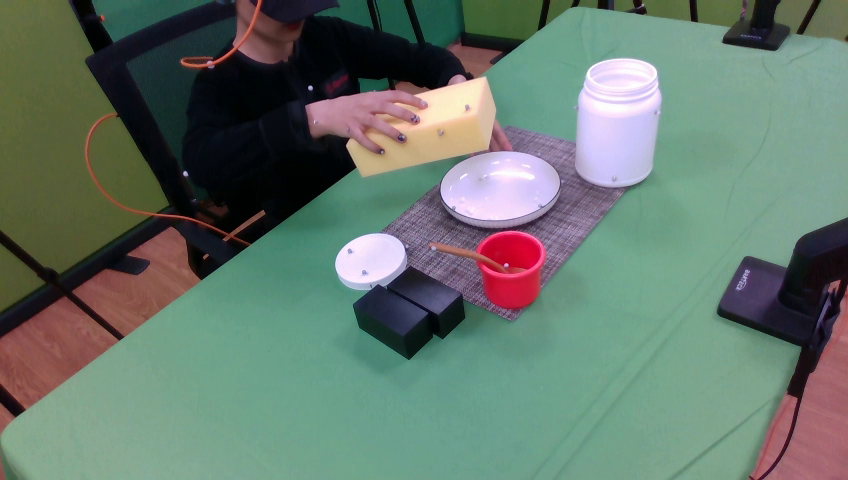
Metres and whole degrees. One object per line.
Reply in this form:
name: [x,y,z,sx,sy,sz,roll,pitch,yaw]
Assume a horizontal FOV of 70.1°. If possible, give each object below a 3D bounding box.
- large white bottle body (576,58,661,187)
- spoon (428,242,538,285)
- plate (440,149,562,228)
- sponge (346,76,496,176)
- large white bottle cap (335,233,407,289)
large white bottle body: [0.326,-0.197,1.021,0.130,0.185,0.130,-5,40,5]
spoon: [0.085,0.029,0.831,0.195,0.021,0.041,22,26,-34]
plate: [0.131,-0.085,1.040,0.209,0.038,0.208,-5,41,5]
sponge: [-0.002,-0.172,0.920,0.206,0.061,0.118,-10,38,19]
large white bottle cap: [-0.085,0.031,0.961,0.115,0.018,0.114,-6,42,6]
